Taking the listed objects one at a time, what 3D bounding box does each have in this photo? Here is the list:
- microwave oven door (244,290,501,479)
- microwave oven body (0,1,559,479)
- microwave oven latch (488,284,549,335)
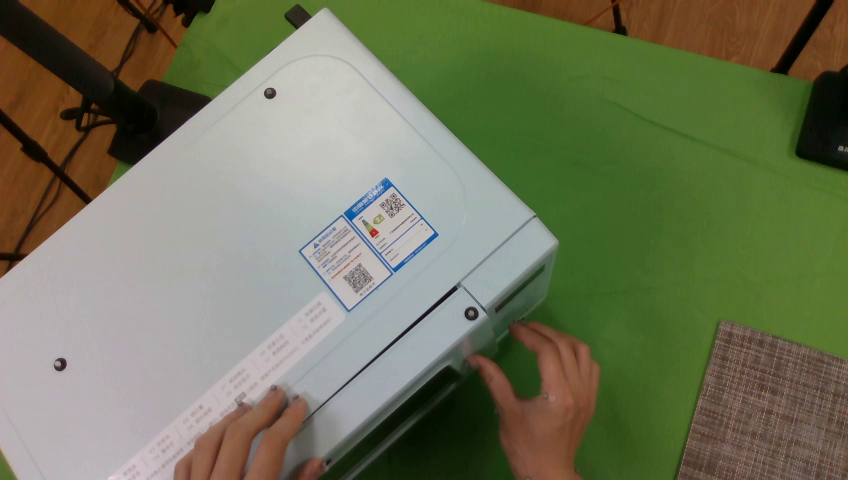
[{"bbox_3d":[-0.077,0.187,0.552,0.356,0.245,0.039,-41,72,-3],"label":"microwave oven door"},{"bbox_3d":[-0.142,0.056,0.602,0.441,0.262,0.324,-42,74,-3],"label":"microwave oven body"},{"bbox_3d":[0.101,0.068,0.664,0.079,0.030,0.030,-40,74,-3],"label":"microwave oven latch"}]
